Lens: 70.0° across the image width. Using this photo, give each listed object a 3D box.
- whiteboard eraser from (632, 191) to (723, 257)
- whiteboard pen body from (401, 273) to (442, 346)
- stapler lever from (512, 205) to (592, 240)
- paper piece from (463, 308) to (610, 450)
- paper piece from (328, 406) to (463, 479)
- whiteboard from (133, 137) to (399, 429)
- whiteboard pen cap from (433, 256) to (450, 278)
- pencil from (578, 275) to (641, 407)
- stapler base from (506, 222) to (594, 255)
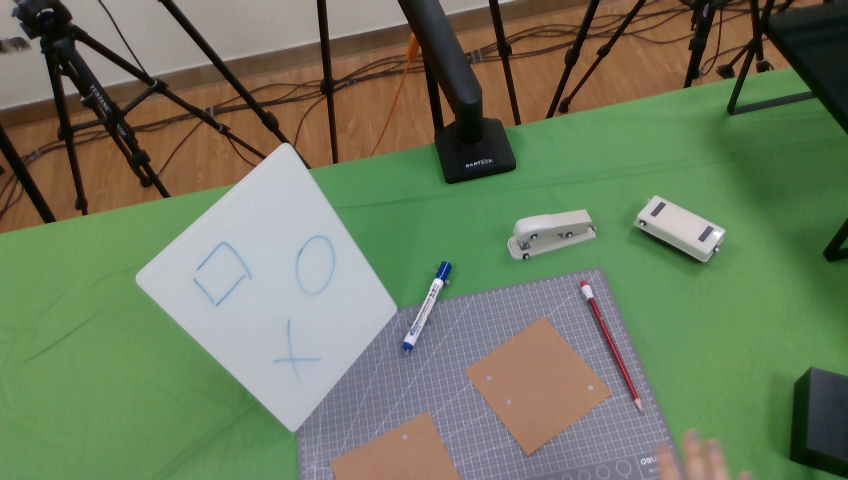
[{"bbox_3d":[0.361,-0.022,0.868,0.112,0.042,0.055,34,67,26],"label":"whiteboard eraser"},{"bbox_3d":[0.002,0.086,0.852,0.017,0.017,0.140,17,58,18],"label":"whiteboard pen body"},{"bbox_3d":[0.186,-0.029,0.878,0.118,0.040,0.026,-16,57,-5],"label":"stapler lever"},{"bbox_3d":[0.142,0.174,0.779,0.136,0.009,0.137,-33,60,-10],"label":"paper piece"},{"bbox_3d":[-0.030,0.284,0.724,0.135,0.004,0.134,-24,57,-10],"label":"paper piece"},{"bbox_3d":[-0.205,0.048,0.768,0.142,0.309,0.216,19,58,43],"label":"whiteboard"},{"bbox_3d":[0.025,0.041,0.880,0.018,0.018,0.033,15,58,17],"label":"whiteboard pen cap"},{"bbox_3d":[0.243,0.128,0.796,0.012,0.012,0.192,-15,57,-3],"label":"pencil"},{"bbox_3d":[0.187,-0.015,0.897,0.131,0.024,0.041,-16,58,-6],"label":"stapler base"}]
